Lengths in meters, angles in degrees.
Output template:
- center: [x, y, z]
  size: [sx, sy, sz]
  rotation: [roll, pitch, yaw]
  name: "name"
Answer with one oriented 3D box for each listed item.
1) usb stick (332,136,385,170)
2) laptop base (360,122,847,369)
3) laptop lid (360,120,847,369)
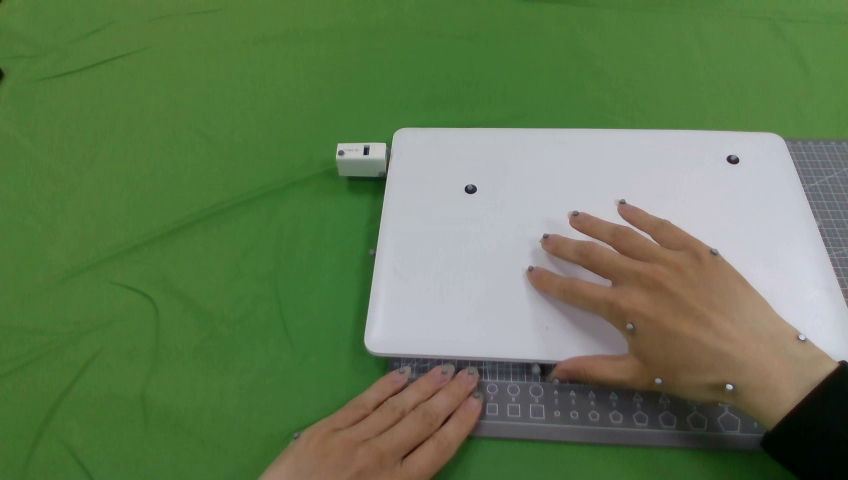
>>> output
- center: [-0.051, -0.078, 0.546]
  size: [0.059, 0.027, 0.021]
  rotation: [1, 53, -1]
  name: "usb stick"
- center: [0.135, -0.006, 0.500]
  size: [0.354, 0.023, 0.233]
  rotation: [2, 57, 4]
  name: "laptop base"
- center: [0.134, -0.012, 0.489]
  size: [0.356, 0.013, 0.239]
  rotation: [3, 56, 5]
  name: "laptop lid"
